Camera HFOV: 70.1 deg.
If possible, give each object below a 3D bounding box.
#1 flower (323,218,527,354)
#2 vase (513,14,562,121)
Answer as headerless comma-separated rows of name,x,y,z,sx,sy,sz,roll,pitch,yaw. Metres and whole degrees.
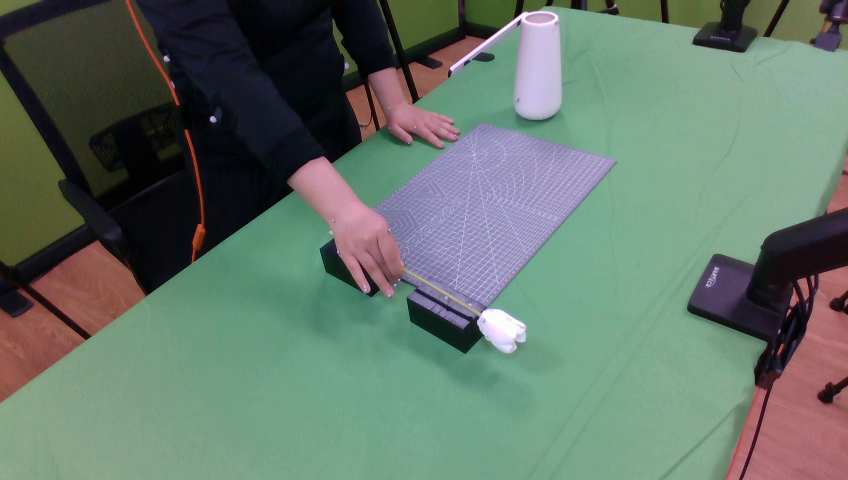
flower,-0.016,0.047,0.827,0.359,0.038,0.044,30,94,29
vase,0.225,-0.336,1.196,0.098,0.201,0.097,-5,42,5
